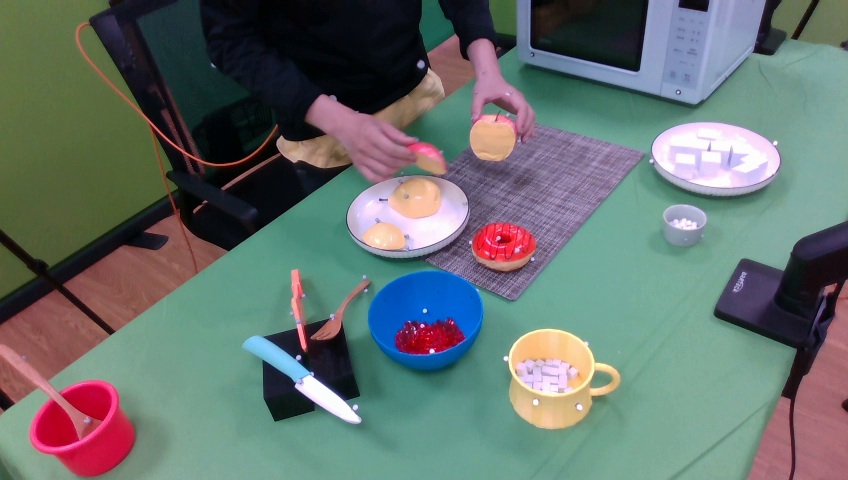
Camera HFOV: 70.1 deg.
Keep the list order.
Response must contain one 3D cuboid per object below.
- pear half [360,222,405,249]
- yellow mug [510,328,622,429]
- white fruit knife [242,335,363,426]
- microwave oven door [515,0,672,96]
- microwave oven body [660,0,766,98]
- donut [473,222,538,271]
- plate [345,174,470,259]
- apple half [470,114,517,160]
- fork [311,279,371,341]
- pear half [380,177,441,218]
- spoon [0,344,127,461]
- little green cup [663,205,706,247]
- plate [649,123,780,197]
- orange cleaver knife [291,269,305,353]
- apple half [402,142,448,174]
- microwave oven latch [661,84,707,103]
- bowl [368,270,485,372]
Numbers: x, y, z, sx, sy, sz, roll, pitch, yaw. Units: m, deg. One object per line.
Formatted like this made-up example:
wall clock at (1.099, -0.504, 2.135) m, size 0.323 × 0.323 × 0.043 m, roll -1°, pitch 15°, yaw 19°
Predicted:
pear half at (-0.064, -0.013, 0.960) m, size 0.071 × 0.031 × 0.087 m, roll 5°, pitch 24°, yaw -22°
yellow mug at (0.168, 0.164, 0.722) m, size 0.130 × 0.064 × 0.099 m, roll 0°, pitch 40°, yaw 8°
white fruit knife at (-0.148, 0.167, 0.730) m, size 0.206 × 0.016 × 0.027 m, roll 26°, pitch 80°, yaw 31°
microwave oven door at (0.343, -0.455, 1.259) m, size 0.353 × 0.245 × 0.039 m, roll 26°, pitch 51°, yaw 33°
microwave oven body at (0.472, -0.513, 1.317) m, size 0.438 × 0.261 × 0.327 m, roll 26°, pitch 51°, yaw 34°
donut at (0.123, 0.008, 0.923) m, size 0.099 × 0.048 × 0.098 m, roll -3°, pitch 38°, yaw 3°
plate at (-0.026, -0.037, 1.004) m, size 0.209 × 0.038 × 0.208 m, roll -4°, pitch 40°, yaw 4°
apple half at (0.121, -0.180, 1.035) m, size 0.080 × 0.075 × 0.053 m, roll 5°, pitch 32°, yaw 12°
fork at (-0.108, 0.092, 0.832) m, size 0.028 × 0.019 × 0.207 m, roll -7°, pitch 19°, yaw 15°
pear half at (-0.029, -0.079, 1.033) m, size 0.109 × 0.056 × 0.076 m, roll -3°, pitch 35°, yaw 17°
spoon at (-0.433, 0.191, 0.721) m, size 0.194 × 0.021 × 0.042 m, roll 47°, pitch 52°, yaw -6°
little green cup at (0.396, -0.021, 0.927) m, size 0.061 × 0.039 × 0.061 m, roll -4°, pitch 40°, yaw 4°
plate at (0.497, -0.135, 1.046) m, size 0.207 × 0.039 × 0.206 m, roll -4°, pitch 40°, yaw 4°
orange cleaver knife at (-0.175, 0.094, 0.844) m, size 0.012 × 0.077 × 0.210 m, roll -11°, pitch 15°, yaw -10°
apple half at (0.009, -0.137, 0.964) m, size 0.080 × 0.082 × 0.033 m, roll 21°, pitch 79°, yaw 29°
microwave oven latch at (0.517, -0.296, 1.204) m, size 0.078 × 0.029 × 0.030 m, roll 27°, pitch 52°, yaw 35°
bowl at (0.007, 0.118, 0.791) m, size 0.151 × 0.077 × 0.150 m, roll -5°, pitch 40°, yaw 4°
